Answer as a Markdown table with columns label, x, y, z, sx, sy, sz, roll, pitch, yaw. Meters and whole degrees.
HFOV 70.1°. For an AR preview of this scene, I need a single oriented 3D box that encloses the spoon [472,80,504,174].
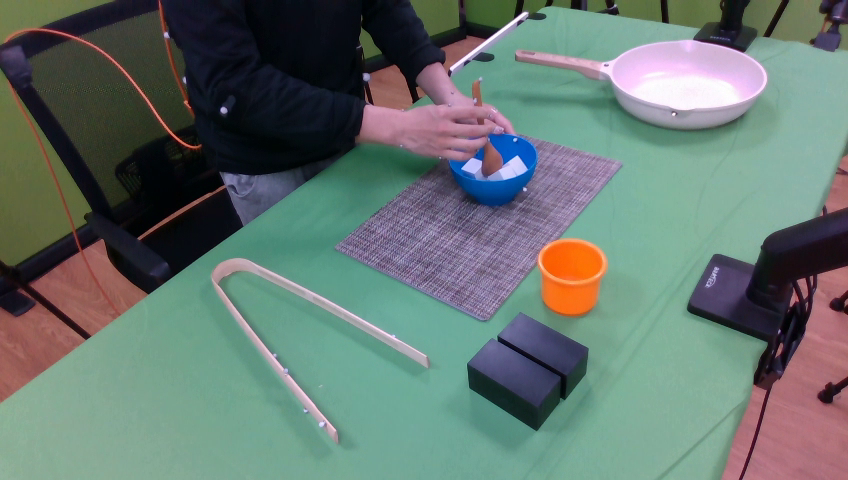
| label | x | y | z | sx | sy | sz | roll | pitch | yaw |
| --- | --- | --- | --- | --- | --- | --- | --- | --- | --- |
| spoon | 0.094 | -0.171 | 0.946 | 0.041 | 0.195 | 0.021 | -27 | 47 | -5 |

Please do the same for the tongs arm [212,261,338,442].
| label | x | y | z | sx | sy | sz | roll | pitch | yaw |
| --- | --- | --- | --- | --- | --- | --- | --- | --- | --- |
| tongs arm | -0.208 | 0.136 | 0.830 | 0.051 | 0.026 | 0.381 | -31 | 45 | -28 |

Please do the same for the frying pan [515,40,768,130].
| label | x | y | z | sx | sy | sz | roll | pitch | yaw |
| --- | --- | --- | --- | --- | --- | --- | --- | --- | --- |
| frying pan | 0.423 | -0.337 | 1.236 | 0.486 | 0.103 | 0.307 | 16 | 44 | 13 |

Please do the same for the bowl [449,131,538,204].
| label | x | y | z | sx | sy | sz | roll | pitch | yaw |
| --- | --- | --- | --- | --- | --- | --- | --- | --- | --- |
| bowl | 0.119 | -0.114 | 1.033 | 0.151 | 0.077 | 0.150 | -4 | 41 | 4 |

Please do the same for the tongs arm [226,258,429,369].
| label | x | y | z | sx | sy | sz | roll | pitch | yaw |
| --- | --- | --- | --- | --- | --- | --- | --- | --- | --- |
| tongs arm | -0.150 | 0.098 | 0.873 | 0.384 | 0.028 | 0.028 | 22 | 50 | 30 |
